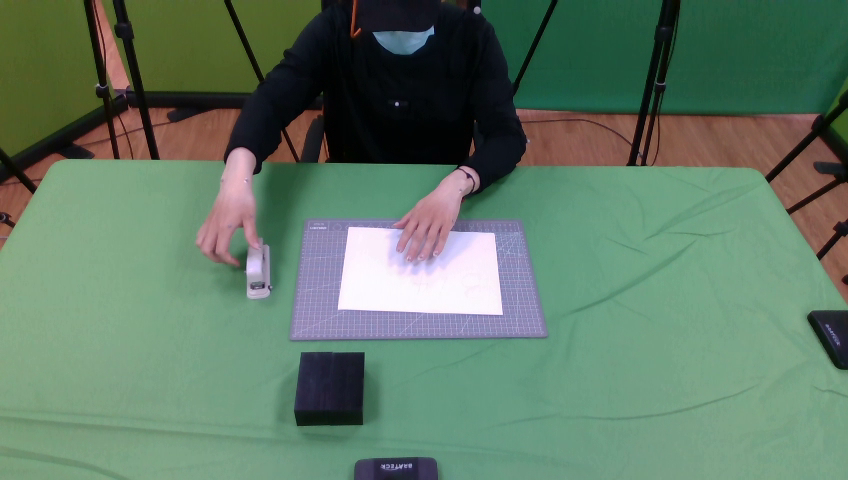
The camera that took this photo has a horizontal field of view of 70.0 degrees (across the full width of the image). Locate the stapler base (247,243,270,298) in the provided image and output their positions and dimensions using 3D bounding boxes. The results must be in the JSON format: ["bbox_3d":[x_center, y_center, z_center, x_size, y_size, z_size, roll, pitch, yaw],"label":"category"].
[{"bbox_3d":[-0.308,0.050,1.123,0.041,0.024,0.129,-4,46,-11],"label":"stapler base"}]

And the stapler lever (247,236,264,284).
[{"bbox_3d":[-0.307,0.031,1.106,0.027,0.040,0.117,-4,45,-11],"label":"stapler lever"}]
